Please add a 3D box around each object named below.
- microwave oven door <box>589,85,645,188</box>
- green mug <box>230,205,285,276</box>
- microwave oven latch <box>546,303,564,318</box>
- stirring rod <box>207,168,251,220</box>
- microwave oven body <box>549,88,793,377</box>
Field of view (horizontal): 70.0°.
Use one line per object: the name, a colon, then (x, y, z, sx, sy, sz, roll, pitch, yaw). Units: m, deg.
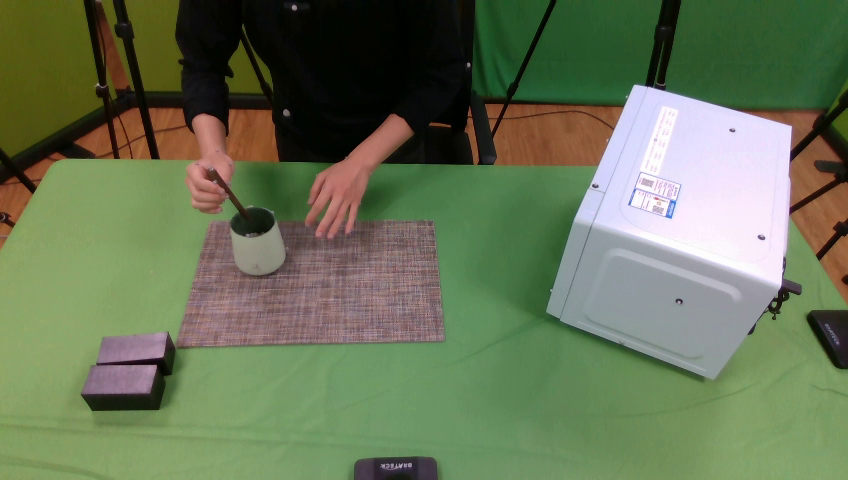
microwave oven door: (0.342, -0.107, 1.148, 0.039, 0.245, 0.354, 20, 48, 15)
green mug: (-0.311, -0.008, 1.117, 0.092, 0.105, 0.124, -14, 49, -16)
microwave oven latch: (0.242, 0.102, 1.081, 0.030, 0.029, 0.079, 22, 48, 17)
stirring rod: (-0.320, -0.073, 1.002, 0.014, 0.177, 0.006, 14, 68, 10)
microwave oven body: (0.456, -0.028, 1.087, 0.325, 0.261, 0.440, 20, 47, 16)
